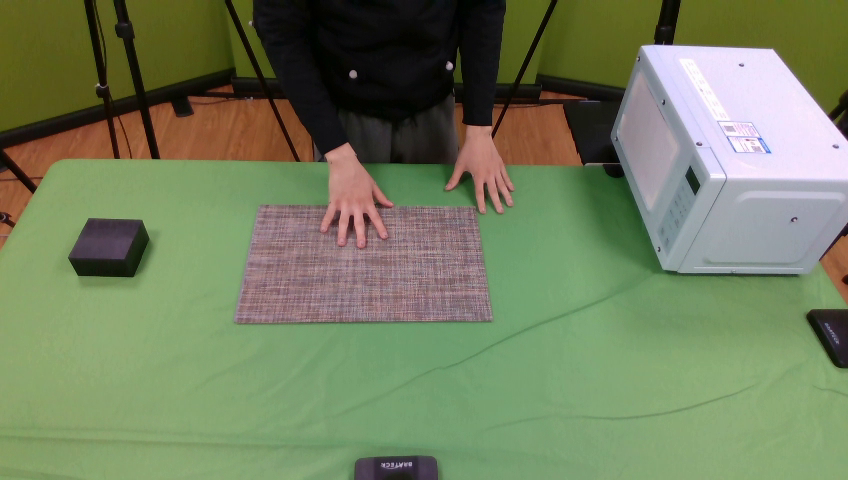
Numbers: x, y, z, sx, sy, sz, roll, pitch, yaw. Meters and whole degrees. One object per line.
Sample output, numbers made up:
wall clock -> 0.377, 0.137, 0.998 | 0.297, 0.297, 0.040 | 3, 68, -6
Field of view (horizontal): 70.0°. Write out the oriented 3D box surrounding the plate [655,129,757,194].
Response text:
plate -> 0.601, -0.165, 1.305 | 0.209, 0.038, 0.208 | 2, 46, -1

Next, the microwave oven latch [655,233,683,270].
microwave oven latch -> 0.473, 0.021, 1.175 | 0.030, 0.029, 0.078 | 2, 46, -1

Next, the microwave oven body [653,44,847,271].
microwave oven body -> 0.620, -0.172, 1.234 | 0.326, 0.261, 0.439 | 0, 46, -3

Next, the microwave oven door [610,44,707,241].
microwave oven door -> 0.473, -0.208, 1.250 | 0.039, 0.245, 0.353 | 0, 47, -3
